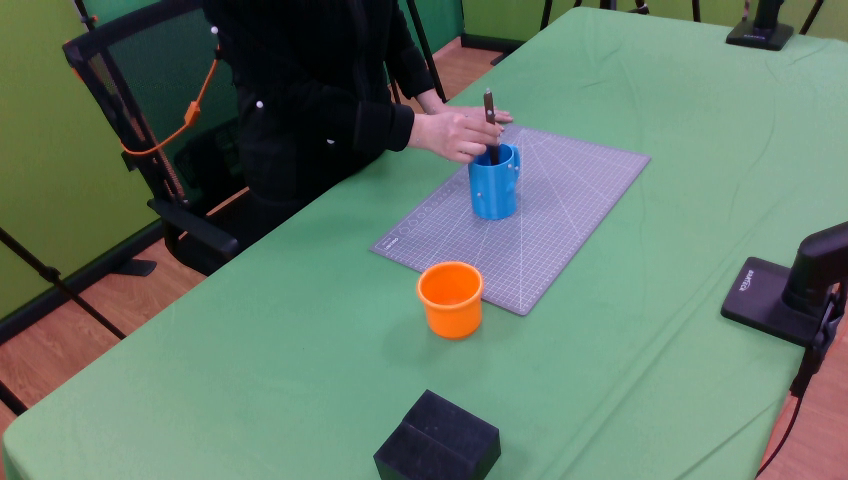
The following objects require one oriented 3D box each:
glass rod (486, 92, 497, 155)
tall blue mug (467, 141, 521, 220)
[{"bbox_3d":[0.115,-0.166,0.985,0.008,0.201,0.008,-6,56,9],"label":"glass rod"},{"bbox_3d":[0.119,-0.109,1.020,0.077,0.108,0.107,3,42,15],"label":"tall blue mug"}]
